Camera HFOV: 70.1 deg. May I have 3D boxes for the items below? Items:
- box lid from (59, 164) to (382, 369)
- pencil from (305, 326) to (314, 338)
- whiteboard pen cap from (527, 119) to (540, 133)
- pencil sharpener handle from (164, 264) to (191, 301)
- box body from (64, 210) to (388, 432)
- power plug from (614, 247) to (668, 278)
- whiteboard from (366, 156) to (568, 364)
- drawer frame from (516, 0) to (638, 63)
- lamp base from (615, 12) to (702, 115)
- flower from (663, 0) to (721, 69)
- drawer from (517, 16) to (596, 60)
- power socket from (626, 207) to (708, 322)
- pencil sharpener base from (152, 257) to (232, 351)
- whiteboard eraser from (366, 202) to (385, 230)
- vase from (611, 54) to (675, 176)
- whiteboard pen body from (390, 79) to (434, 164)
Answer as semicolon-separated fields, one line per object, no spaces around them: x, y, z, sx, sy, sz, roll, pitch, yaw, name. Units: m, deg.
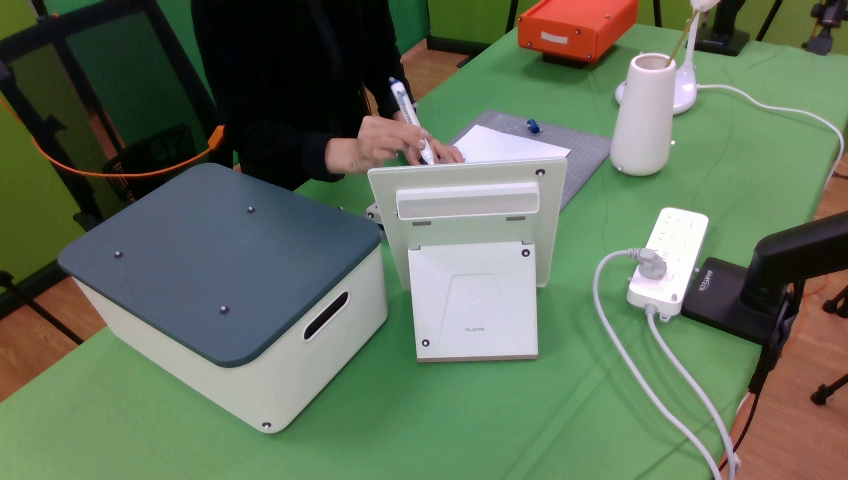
-0.263;0.010;0.777;0.368;0.015;0.264;20;47;29;box lid
-0.187;0.105;0.879;0.012;0.012;0.192;-27;42;-22;pencil
0.221;-0.229;1.211;0.018;0.018;0.033;-13;40;-7;whiteboard pen cap
-0.354;0.055;0.866;0.036;0.068;0.030;-16;39;-29;pencil sharpener handle
-0.256;0.065;0.827;0.361;0.161;0.255;20;48;29;box body
0.306;0.031;0.851;0.072;0.053;0.035;24;49;33;power plug
0.059;0.050;0.738;0.217;0.307;0.143;-2;60;6;whiteboard
0.355;-0.508;1.410;0.200;0.083;0.214;23;51;32;drawer frame
0.484;-0.364;1.211;0.180;0.181;0.159;-15;41;-14;lamp base
0.379;-0.261;0.965;0.044;0.362;0.038;20;53;5;flower
0.353;-0.506;1.405;0.193;0.073;0.212;23;49;32;drawer
0.359;0.025;0.886;0.072;0.033;0.227;16;46;26;power socket
-0.322;0.088;0.842;0.061;0.107;0.076;-27;44;-20;pencil sharpener base
-0.038;-0.038;1.006;0.112;0.042;0.055;16;47;25;whiteboard eraser
0.377;-0.209;1.031;0.098;0.201;0.097;-3;40;3;vase
-0.013;-0.151;0.807;0.017;0.017;0.140;-22;84;-17;whiteboard pen body
